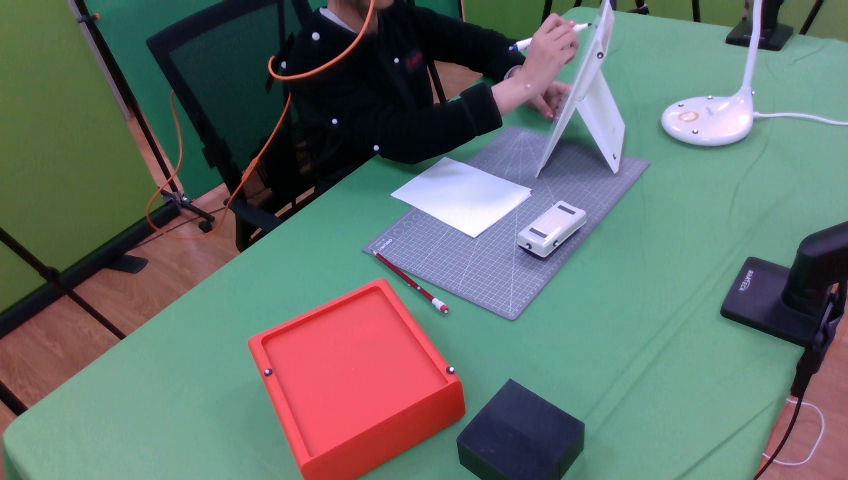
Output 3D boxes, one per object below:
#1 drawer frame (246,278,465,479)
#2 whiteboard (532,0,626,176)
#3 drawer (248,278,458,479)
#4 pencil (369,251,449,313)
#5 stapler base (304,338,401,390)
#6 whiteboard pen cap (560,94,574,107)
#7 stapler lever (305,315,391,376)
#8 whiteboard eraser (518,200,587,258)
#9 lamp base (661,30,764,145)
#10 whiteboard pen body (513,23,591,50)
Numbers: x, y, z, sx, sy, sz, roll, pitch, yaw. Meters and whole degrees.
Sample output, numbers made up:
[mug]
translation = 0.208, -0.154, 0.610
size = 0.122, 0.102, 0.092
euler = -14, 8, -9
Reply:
[drawer frame]
translation = -0.088, 0.168, 0.752
size = 0.202, 0.083, 0.211
euler = -24, 43, -18
[whiteboard]
translation = 0.321, -0.258, 1.050
size = 0.144, 0.306, 0.217
euler = 21, 45, 5
[drawer]
translation = -0.092, 0.167, 0.756
size = 0.195, 0.073, 0.210
euler = -24, 43, -18
[pencil]
translation = -0.028, 0.060, 0.924
size = 0.012, 0.012, 0.192
euler = -33, 46, -25
[stapler base]
translation = -0.096, 0.159, 0.813
size = 0.131, 0.024, 0.041
euler = -17, 42, -18
[whiteboard pen cap]
translation = 0.301, -0.293, 1.272
size = 0.018, 0.018, 0.033
euler = 26, 50, 34
[stapler lever]
translation = -0.100, 0.136, 0.790
size = 0.118, 0.040, 0.026
euler = -23, 44, -12
[whiteboard eraser]
translation = 0.201, -0.016, 0.943
size = 0.113, 0.042, 0.055
euler = -37, 46, -29
[lamp base]
translation = 0.535, -0.287, 1.096
size = 0.179, 0.181, 0.159
euler = -10, 40, -4
[whiteboard pen body]
translation = 0.226, -0.361, 1.067
size = 0.141, 0.017, 0.017
euler = -15, 40, 6
